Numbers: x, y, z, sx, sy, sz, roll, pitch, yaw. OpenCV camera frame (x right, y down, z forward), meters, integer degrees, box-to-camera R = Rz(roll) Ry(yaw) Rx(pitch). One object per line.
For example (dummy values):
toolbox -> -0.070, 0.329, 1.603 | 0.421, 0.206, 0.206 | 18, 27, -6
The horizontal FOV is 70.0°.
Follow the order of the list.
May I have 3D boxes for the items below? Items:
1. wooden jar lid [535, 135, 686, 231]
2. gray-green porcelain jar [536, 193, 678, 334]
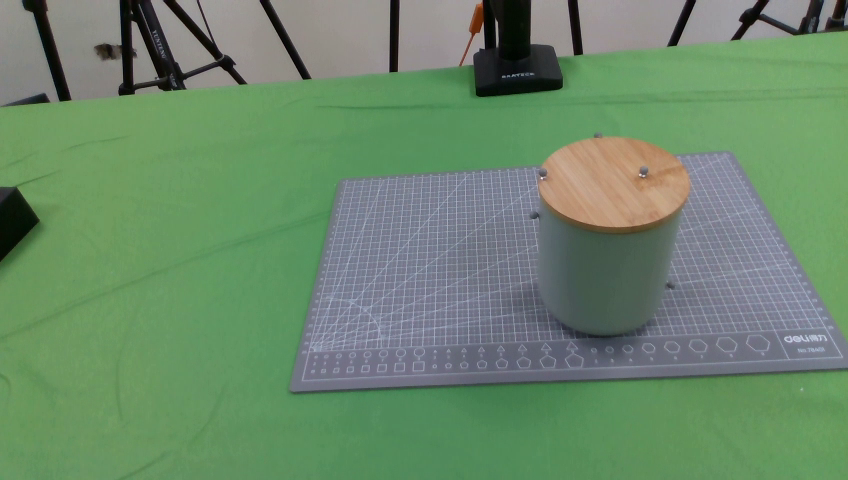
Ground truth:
wooden jar lid -> 0.138, -0.040, 0.456 | 0.108, 0.021, 0.107 | -5, 43, 5
gray-green porcelain jar -> 0.145, 0.006, 0.498 | 0.106, 0.128, 0.105 | -5, 42, 5
